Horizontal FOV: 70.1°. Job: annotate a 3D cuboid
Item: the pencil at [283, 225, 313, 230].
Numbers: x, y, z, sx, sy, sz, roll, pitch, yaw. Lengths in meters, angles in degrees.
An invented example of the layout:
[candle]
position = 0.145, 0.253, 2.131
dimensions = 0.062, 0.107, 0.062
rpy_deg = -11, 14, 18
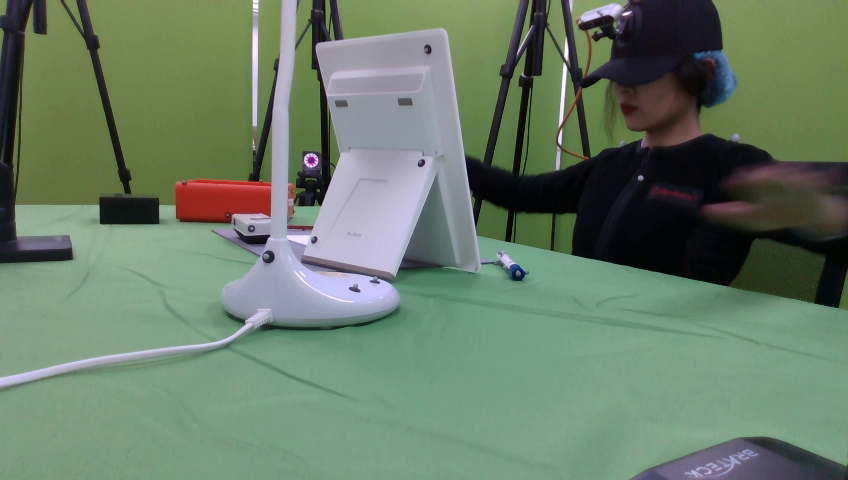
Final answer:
[pencil]
position = -0.216, -0.023, 1.134
dimensions = 0.195, 0.012, 0.012
rpy_deg = 1, 7, -21

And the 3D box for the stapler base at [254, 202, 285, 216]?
[stapler base]
position = -0.334, -0.069, 1.307
dimensions = 0.041, 0.024, 0.130
rpy_deg = 6, 6, -2

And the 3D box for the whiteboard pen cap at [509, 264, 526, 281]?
[whiteboard pen cap]
position = 0.116, 0.039, 0.752
dimensions = 0.018, 0.018, 0.033
rpy_deg = 2, 10, -1

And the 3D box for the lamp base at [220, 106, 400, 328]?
[lamp base]
position = -0.101, -0.023, 0.531
dimensions = 0.160, 0.180, 0.179
rpy_deg = 4, 10, 10

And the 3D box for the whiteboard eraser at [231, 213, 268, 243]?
[whiteboard eraser]
position = -0.270, -0.020, 0.967
dimensions = 0.056, 0.042, 0.112
rpy_deg = 0, 8, -28

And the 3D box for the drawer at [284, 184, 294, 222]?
[drawer]
position = -0.390, -0.084, 1.301
dimensions = 0.212, 0.073, 0.194
rpy_deg = 1, 8, -8

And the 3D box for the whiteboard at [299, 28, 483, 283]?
[whiteboard]
position = -0.075, -0.082, 0.740
dimensions = 0.216, 0.305, 0.144
rpy_deg = 9, 30, 39

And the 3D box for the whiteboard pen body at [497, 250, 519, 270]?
[whiteboard pen body]
position = 0.116, 0.032, 0.810
dimensions = 0.017, 0.017, 0.140
rpy_deg = 2, 8, -2

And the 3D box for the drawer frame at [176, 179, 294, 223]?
[drawer frame]
position = -0.395, -0.086, 1.299
dimensions = 0.214, 0.082, 0.201
rpy_deg = 1, 8, -9

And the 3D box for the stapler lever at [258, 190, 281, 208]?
[stapler lever]
position = -0.332, -0.091, 1.305
dimensions = 0.027, 0.040, 0.118
rpy_deg = 6, 9, -2
